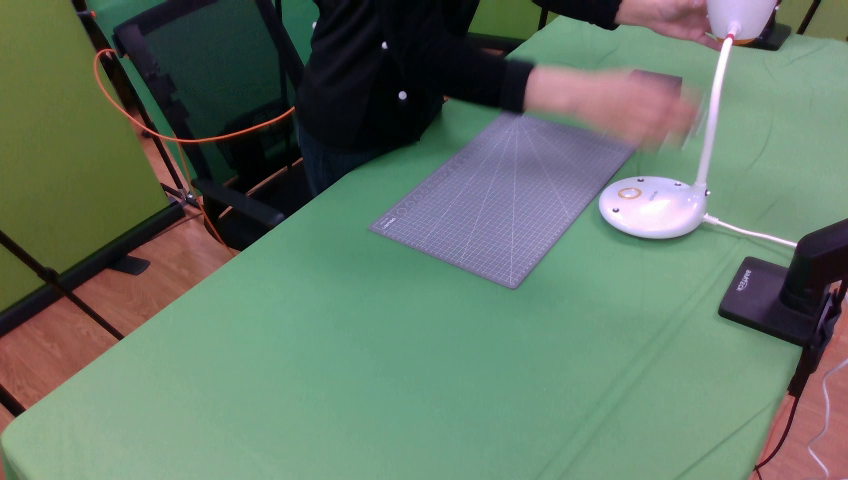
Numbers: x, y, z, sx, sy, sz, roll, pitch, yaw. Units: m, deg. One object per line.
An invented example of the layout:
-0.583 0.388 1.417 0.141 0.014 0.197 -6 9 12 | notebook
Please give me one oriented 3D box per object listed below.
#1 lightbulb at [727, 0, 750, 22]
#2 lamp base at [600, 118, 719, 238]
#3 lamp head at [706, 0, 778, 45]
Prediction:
0.480 -0.386 0.919 0.059 0.108 0.059 -11 34 8 | lightbulb
0.370 -0.113 0.920 0.178 0.181 0.161 14 43 20 | lamp base
0.486 -0.363 0.927 0.112 0.123 0.112 -5 31 4 | lamp head
